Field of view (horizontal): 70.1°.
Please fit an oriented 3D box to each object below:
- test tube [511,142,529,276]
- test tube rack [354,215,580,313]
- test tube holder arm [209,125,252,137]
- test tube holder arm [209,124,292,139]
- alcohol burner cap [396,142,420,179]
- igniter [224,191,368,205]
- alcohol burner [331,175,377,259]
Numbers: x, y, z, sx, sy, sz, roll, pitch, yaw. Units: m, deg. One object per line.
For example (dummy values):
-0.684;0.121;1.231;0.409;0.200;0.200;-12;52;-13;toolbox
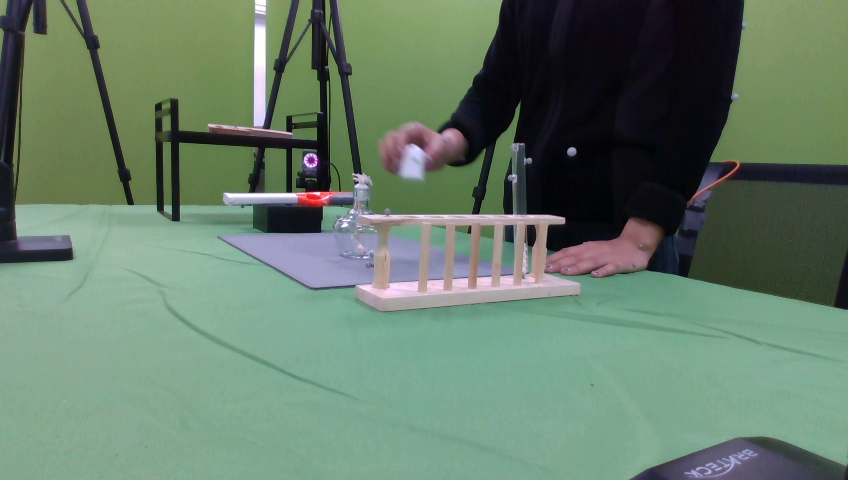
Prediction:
0.108;-0.034;0.678;0.017;0.150;0.017;-3;7;1;test tube
0.053;0.019;0.635;0.243;0.085;0.066;-1;8;-29;test tube rack
-0.419;-0.236;1.308;0.088;0.015;0.010;2;39;-28;test tube holder arm
-0.381;-0.238;1.334;0.179;0.015;0.013;1;39;-29;test tube holder arm
-0.021;-0.110;0.827;0.034;0.048;0.034;5;-3;1;alcohol burner cap
-0.237;-0.079;1.157;0.278;0.025;0.057;-2;21;-31;igniter
-0.091;-0.033;0.855;0.078;0.119;0.078;4;7;0;alcohol burner
